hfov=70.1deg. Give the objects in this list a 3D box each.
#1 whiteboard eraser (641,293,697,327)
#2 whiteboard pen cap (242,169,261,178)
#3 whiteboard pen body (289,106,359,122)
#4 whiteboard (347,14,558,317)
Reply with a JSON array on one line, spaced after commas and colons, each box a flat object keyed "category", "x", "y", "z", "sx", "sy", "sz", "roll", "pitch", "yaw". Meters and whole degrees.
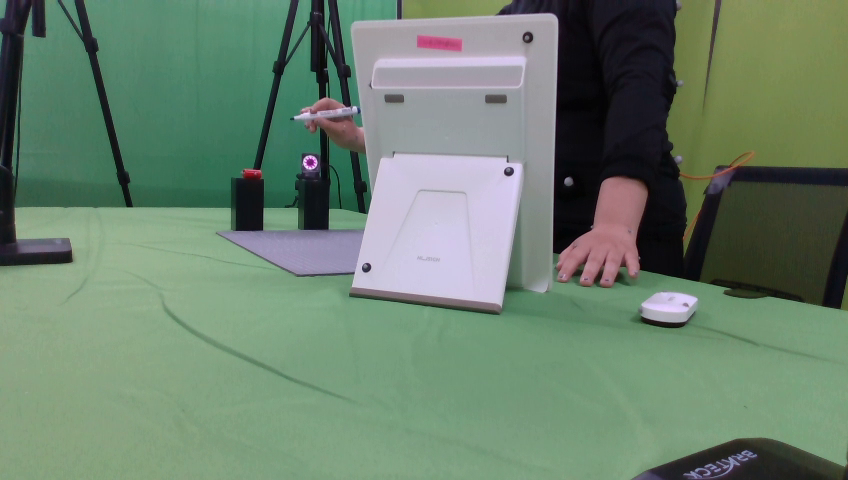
[{"category": "whiteboard eraser", "x": 0.240, "y": 0.066, "z": 0.590, "sx": 0.041, "sy": 0.019, "sz": 0.102, "roll": 6, "pitch": 7, "yaw": 31}, {"category": "whiteboard pen cap", "x": -0.326, "y": -0.126, "z": 1.144, "sx": 0.032, "sy": 0.017, "sz": 0.017, "roll": -1, "pitch": 8, "yaw": -36}, {"category": "whiteboard pen body", "x": -0.196, "y": -0.247, "z": 1.196, "sx": 0.141, "sy": 0.017, "sz": 0.017, "roll": -13, "pitch": 12, "yaw": -20}, {"category": "whiteboard", "x": 0.012, "y": -0.056, "z": 0.609, "sx": 0.216, "sy": 0.305, "sz": 0.144, "roll": 5, "pitch": 27, "yaw": 20}]
